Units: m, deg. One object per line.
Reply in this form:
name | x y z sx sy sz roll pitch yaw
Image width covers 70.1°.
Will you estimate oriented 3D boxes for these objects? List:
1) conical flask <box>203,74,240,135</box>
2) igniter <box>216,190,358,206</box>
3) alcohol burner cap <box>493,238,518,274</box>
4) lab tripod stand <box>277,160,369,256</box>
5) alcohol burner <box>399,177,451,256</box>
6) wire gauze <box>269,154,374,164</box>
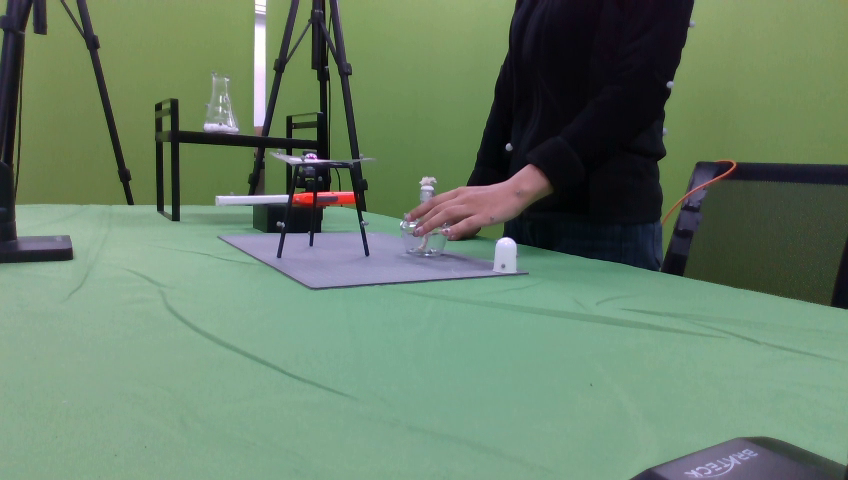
conical flask | -0.425 -0.284 1.271 0.075 0.122 0.075 3 7 0
igniter | -0.248 -0.079 1.142 0.278 0.025 0.057 -5 8 -31
alcohol burner cap | 0.107 0.021 0.785 0.034 0.048 0.034 1 7 0
lab tripod stand | -0.150 -0.046 0.861 0.148 0.131 0.148 3 9 0
alcohol burner | 0.003 -0.035 0.908 0.078 0.119 0.078 5 8 0
wire gauze | -0.146 -0.114 0.860 0.122 0.011 0.124 -2 9 -29
